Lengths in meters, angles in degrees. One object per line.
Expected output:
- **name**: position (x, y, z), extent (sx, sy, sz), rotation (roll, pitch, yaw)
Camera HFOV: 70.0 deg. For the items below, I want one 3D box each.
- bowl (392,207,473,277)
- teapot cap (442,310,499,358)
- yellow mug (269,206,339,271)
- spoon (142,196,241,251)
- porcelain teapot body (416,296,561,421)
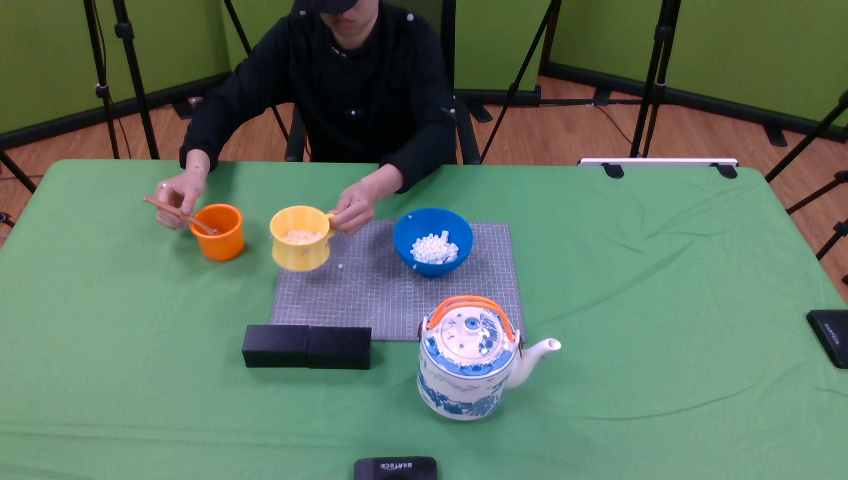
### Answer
- **bowl**: position (0.014, 0.016, 1.140), extent (0.151, 0.077, 0.150), rotation (2, 46, -2)
- **teapot cap**: position (0.068, 0.133, 0.880), extent (0.085, 0.044, 0.084), rotation (4, 45, -4)
- **yellow mug**: position (-0.205, -0.009, 1.059), extent (0.131, 0.064, 0.099), rotation (-27, 54, -33)
- **spoon**: position (-0.421, -0.032, 1.108), extent (0.021, 0.195, 0.041), rotation (-34, 38, 25)
- **porcelain teapot body**: position (0.094, 0.164, 0.907), extent (0.205, 0.226, 0.144), rotation (6, 45, 1)
